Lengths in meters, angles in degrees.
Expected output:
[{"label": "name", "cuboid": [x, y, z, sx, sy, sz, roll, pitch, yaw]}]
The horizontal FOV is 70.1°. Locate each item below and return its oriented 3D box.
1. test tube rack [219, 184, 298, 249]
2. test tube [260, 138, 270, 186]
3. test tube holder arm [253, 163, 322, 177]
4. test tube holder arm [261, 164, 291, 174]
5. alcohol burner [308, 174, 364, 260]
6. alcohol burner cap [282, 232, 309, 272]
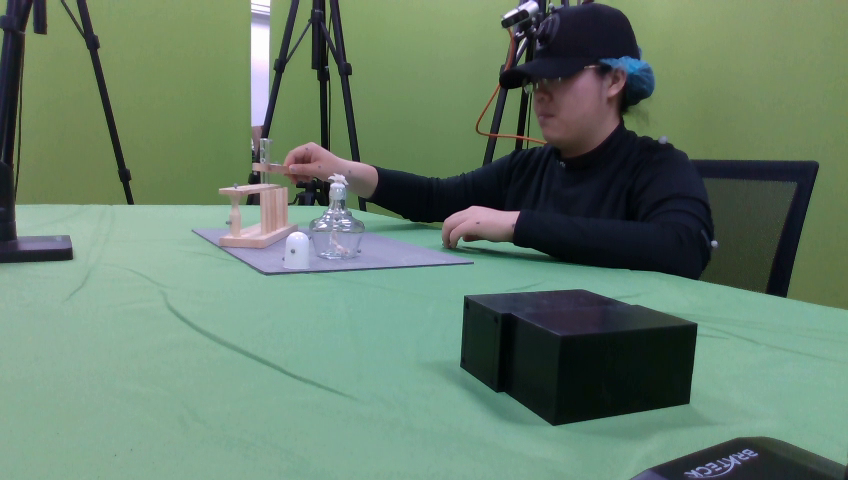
[{"label": "test tube rack", "cuboid": [-0.266, -0.046, 1.001, 0.067, 0.085, 0.242, 2, 7, 0]}, {"label": "test tube", "cuboid": [-0.281, -0.105, 1.069, 0.017, 0.150, 0.017, 2, 8, 0]}, {"label": "test tube holder arm", "cuboid": [-0.252, -0.131, 1.133, 0.013, 0.015, 0.179, 11, 7, 27]}, {"label": "test tube holder arm", "cuboid": [-0.265, -0.128, 1.090, 0.010, 0.015, 0.088, 9, 6, 15]}, {"label": "alcohol burner", "cuboid": [-0.121, -0.033, 0.841, 0.078, 0.119, 0.078, 3, 5, 0]}, {"label": "alcohol burner cap", "cuboid": [-0.157, 0.014, 0.740, 0.034, 0.048, 0.034, 3, 6, 0]}]
